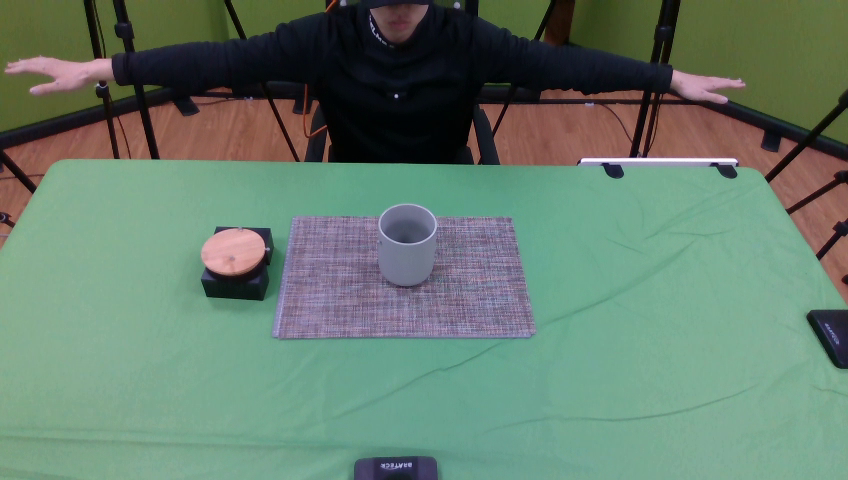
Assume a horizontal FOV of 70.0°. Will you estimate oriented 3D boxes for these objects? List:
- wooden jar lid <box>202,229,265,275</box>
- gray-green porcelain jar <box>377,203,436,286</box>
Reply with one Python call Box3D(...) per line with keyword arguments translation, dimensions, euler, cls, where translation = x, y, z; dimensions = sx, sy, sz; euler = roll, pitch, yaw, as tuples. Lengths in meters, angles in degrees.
Box3D(translation=(-0.340, 0.023, 1.084), dimensions=(0.108, 0.021, 0.107), euler=(3, 45, -2), cls="wooden jar lid")
Box3D(translation=(-0.033, 0.014, 1.106), dimensions=(0.106, 0.127, 0.105), euler=(2, 46, -2), cls="gray-green porcelain jar")
